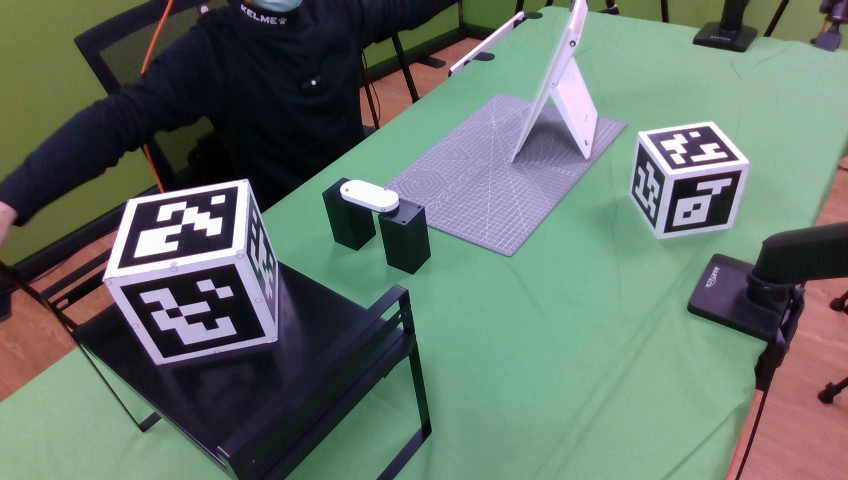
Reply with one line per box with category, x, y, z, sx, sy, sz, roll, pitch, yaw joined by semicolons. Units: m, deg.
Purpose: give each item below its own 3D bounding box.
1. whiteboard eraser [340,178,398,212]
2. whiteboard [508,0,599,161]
whiteboard eraser;-0.083;-0.068;0.906;0.100;0.019;0.041;20;49;29
whiteboard;0.285;-0.289;1.088;0.144;0.305;0.217;22;45;3
